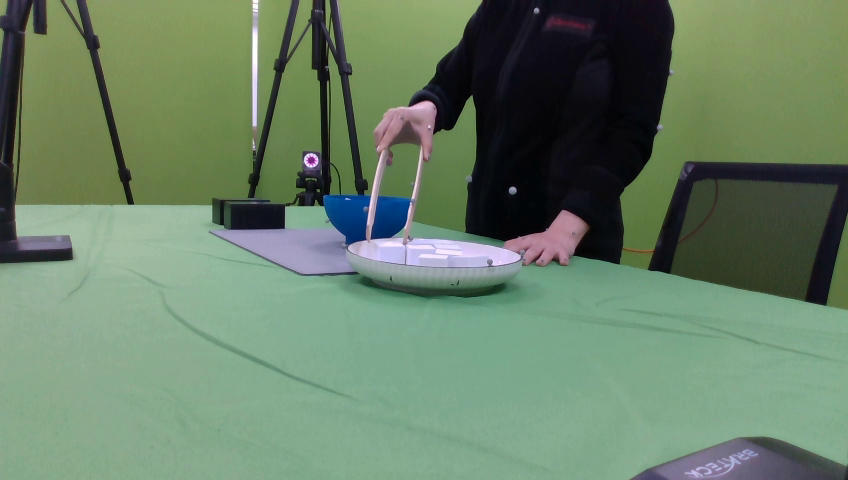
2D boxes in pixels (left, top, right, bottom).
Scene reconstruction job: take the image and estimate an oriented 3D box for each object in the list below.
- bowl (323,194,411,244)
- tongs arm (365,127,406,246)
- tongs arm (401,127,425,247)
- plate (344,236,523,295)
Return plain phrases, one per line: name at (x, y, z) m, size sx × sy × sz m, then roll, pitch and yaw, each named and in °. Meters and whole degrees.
bowl at (-0.090, -0.032, 0.986) m, size 0.151 × 0.077 × 0.151 m, roll 2°, pitch 7°, yaw 0°
tongs arm at (-0.055, -0.094, 0.891) m, size 0.028 × 0.028 × 0.387 m, roll -2°, pitch 28°, yaw 5°
tongs arm at (-0.027, -0.093, 0.891) m, size 0.051 × 0.026 × 0.384 m, roll 3°, pitch 29°, yaw 5°
plate at (0.010, 0.030, 0.707) m, size 0.208 × 0.039 × 0.207 m, roll 3°, pitch 8°, yaw 0°
